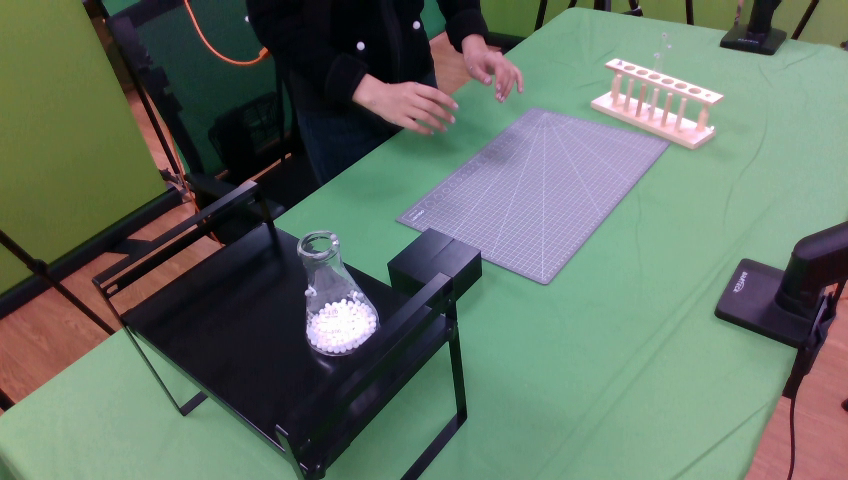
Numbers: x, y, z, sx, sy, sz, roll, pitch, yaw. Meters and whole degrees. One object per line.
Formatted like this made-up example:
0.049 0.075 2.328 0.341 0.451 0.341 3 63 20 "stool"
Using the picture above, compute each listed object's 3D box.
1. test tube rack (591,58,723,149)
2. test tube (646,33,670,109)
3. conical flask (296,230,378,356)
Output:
0.442 -0.269 1.171 0.067 0.085 0.240 -30 46 -24 "test tube rack"
0.445 -0.320 1.154 0.017 0.151 0.017 -1 41 2 "test tube"
-0.090 0.048 0.578 0.075 0.122 0.075 -5 41 5 "conical flask"
